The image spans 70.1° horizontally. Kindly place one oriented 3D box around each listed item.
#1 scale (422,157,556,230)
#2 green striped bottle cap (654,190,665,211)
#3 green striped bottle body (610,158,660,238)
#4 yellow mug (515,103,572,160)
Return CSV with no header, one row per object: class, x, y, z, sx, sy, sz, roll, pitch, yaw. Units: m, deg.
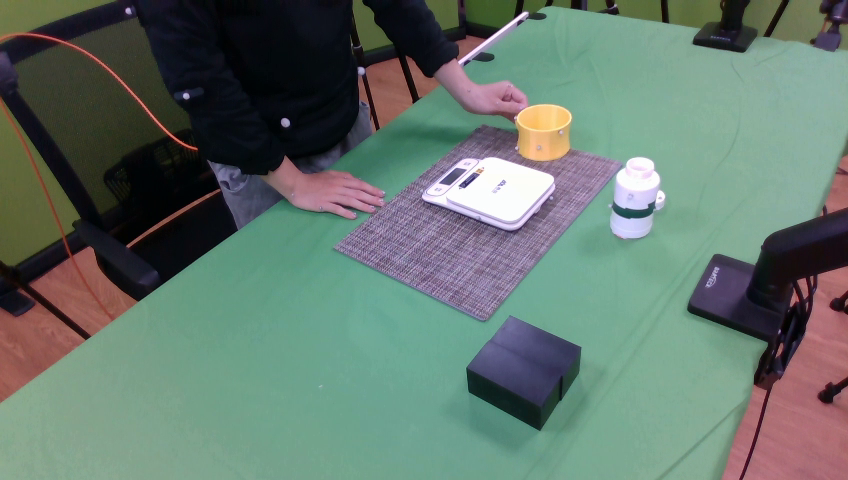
scale,0.110,-0.089,1.042,0.199,0.032,0.149,23,48,31
green striped bottle cap,0.375,-0.066,0.998,0.044,0.020,0.044,-8,38,7
green striped bottle body,0.323,-0.066,0.924,0.063,0.120,0.063,-4,41,4
yellow mug,0.216,-0.211,1.143,0.100,0.064,0.129,-28,44,-22
